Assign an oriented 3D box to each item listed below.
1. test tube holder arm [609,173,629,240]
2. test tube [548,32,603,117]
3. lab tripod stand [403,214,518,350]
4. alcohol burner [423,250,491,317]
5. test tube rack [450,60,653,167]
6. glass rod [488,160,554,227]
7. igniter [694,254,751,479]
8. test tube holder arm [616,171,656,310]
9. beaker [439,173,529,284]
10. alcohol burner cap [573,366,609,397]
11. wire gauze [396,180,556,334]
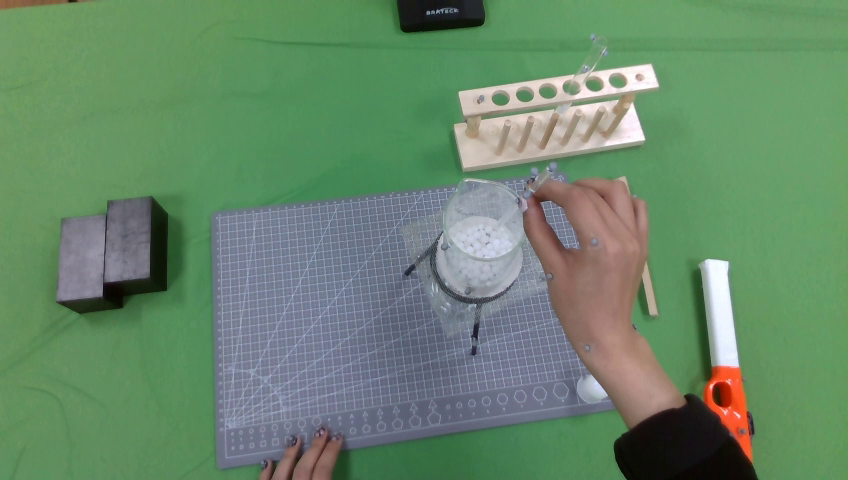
[{"bbox_3d":[0.248,-0.042,0.762,0.010,0.015,0.087,-18,69,27],"label":"test tube holder arm"},{"bbox_3d":[0.178,-0.192,0.724,0.017,0.151,0.017,3,68,-7],"label":"test tube"},{"bbox_3d":[0.043,0.037,0.661,0.148,0.132,0.147,0,71,0],"label":"lab tripod stand"},{"bbox_3d":[0.037,0.043,0.669,0.078,0.120,0.077,0,68,-1],"label":"alcohol burner"},{"bbox_3d":[0.160,-0.158,0.764,0.242,0.085,0.066,-9,70,-5],"label":"test tube rack"},{"bbox_3d":[0.074,-0.034,0.496,0.008,0.200,0.008,1,80,-5],"label":"glass rod"},{"bbox_3d":[0.339,0.148,0.692,0.057,0.025,0.274,7,70,-10],"label":"igniter"},{"bbox_3d":[0.259,-0.002,0.746,0.013,0.015,0.177,-18,69,27],"label":"test tube holder arm"},{"bbox_3d":[0.049,-0.007,0.556,0.074,0.101,0.083,-22,71,-8],"label":"beaker"},{"bbox_3d":[0.188,0.155,0.673,0.034,0.048,0.033,1,69,-2],"label":"alcohol burner cap"},{"bbox_3d":[0.050,0.012,0.600,0.121,0.011,0.124,-24,74,-7],"label":"wire gauze"}]
